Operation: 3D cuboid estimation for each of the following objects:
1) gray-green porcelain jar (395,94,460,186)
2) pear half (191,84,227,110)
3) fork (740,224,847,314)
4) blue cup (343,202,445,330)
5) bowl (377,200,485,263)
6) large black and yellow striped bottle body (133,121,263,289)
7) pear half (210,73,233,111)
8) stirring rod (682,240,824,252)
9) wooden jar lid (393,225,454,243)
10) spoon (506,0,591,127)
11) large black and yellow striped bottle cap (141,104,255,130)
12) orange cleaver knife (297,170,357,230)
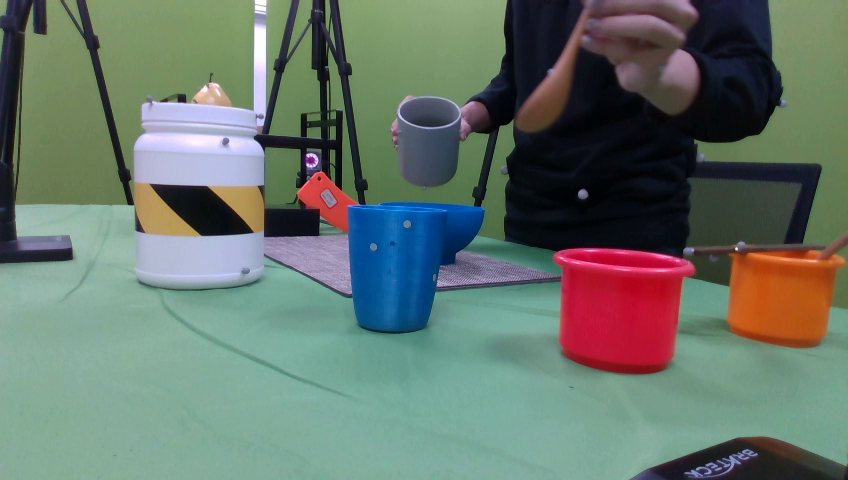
[{"bbox_3d":[0.004,-0.164,1.019,0.106,0.126,0.105,1,41,-1],"label":"gray-green porcelain jar"},{"bbox_3d":[-0.406,-0.248,1.128,0.070,0.088,0.031,5,7,2],"label":"pear half"},{"bbox_3d":[0.323,0.013,0.485,0.028,0.018,0.207,9,-38,-5],"label":"fork"},{"bbox_3d":[-0.027,0.021,0.510,0.093,0.100,0.092,3,5,0],"label":"blue cup"},{"bbox_3d":[0.008,-0.012,0.842,0.151,0.077,0.151,2,7,0],"label":"bowl"},{"bbox_3d":[-0.243,-0.048,0.659,0.131,0.184,0.130,2,7,0],"label":"large black and yellow striped bottle body"},{"bbox_3d":[-0.402,-0.262,1.162,0.076,0.109,0.056,7,7,2],"label":"pear half"},{"bbox_3d":[0.289,0.004,0.525,0.177,0.006,0.014,-1,8,-27],"label":"stirring rod"},{"bbox_3d":[-0.001,-0.011,1.058,0.108,0.020,0.108,8,5,0],"label":"wooden jar lid"},{"bbox_3d":[0.124,-0.179,0.513,0.042,0.193,0.021,9,30,-31],"label":"spoon"},{"bbox_3d":[-0.241,-0.131,0.650,0.115,0.019,0.115,3,8,0],"label":"large black and yellow striped bottle cap"},{"bbox_3d":[-0.149,-0.058,1.170,0.212,0.077,0.012,33,-14,-32],"label":"orange cleaver knife"}]
